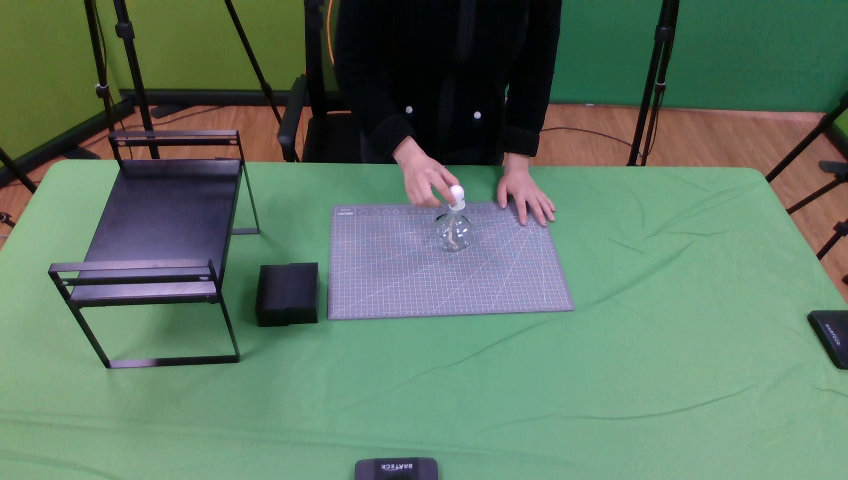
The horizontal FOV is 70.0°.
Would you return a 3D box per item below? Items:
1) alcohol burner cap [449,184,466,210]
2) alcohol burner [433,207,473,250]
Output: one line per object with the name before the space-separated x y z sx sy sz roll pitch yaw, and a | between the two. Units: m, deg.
alcohol burner cap | 0.061 -0.082 1.125 0.034 0.048 0.033 -3 47 3
alcohol burner | 0.058 -0.038 1.169 0.078 0.119 0.077 3 45 -3
